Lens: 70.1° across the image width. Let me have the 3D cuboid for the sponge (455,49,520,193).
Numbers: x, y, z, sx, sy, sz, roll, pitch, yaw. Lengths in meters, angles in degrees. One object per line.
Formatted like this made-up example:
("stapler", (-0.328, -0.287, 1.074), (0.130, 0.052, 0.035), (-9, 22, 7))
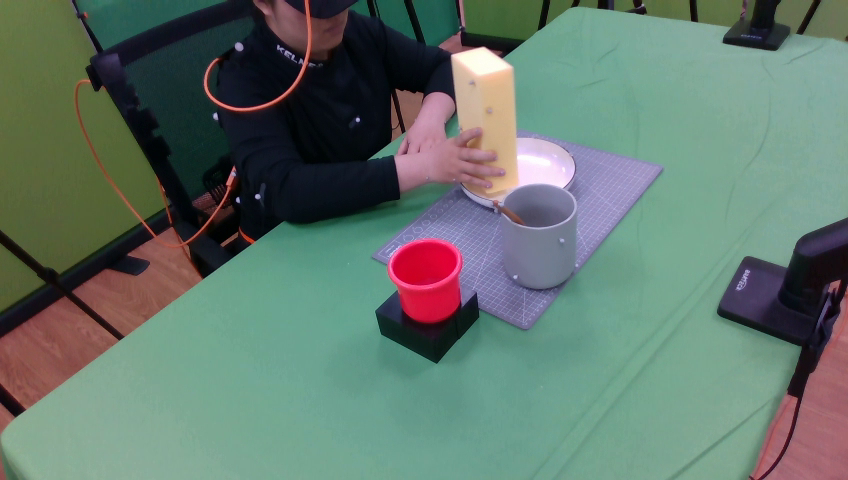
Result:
("sponge", (0.108, -0.199, 1.012), (0.061, 0.207, 0.117), (-15, 34, -12))

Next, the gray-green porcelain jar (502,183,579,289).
("gray-green porcelain jar", (0.167, -0.001, 0.866), (0.106, 0.127, 0.105), (-5, 40, 5))

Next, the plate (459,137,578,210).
("plate", (0.166, -0.113, 1.068), (0.207, 0.039, 0.206), (-5, 40, 5))

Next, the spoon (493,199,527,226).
("spoon", (0.135, -0.016, 0.831), (0.021, 0.195, 0.041), (-49, 53, -1))
